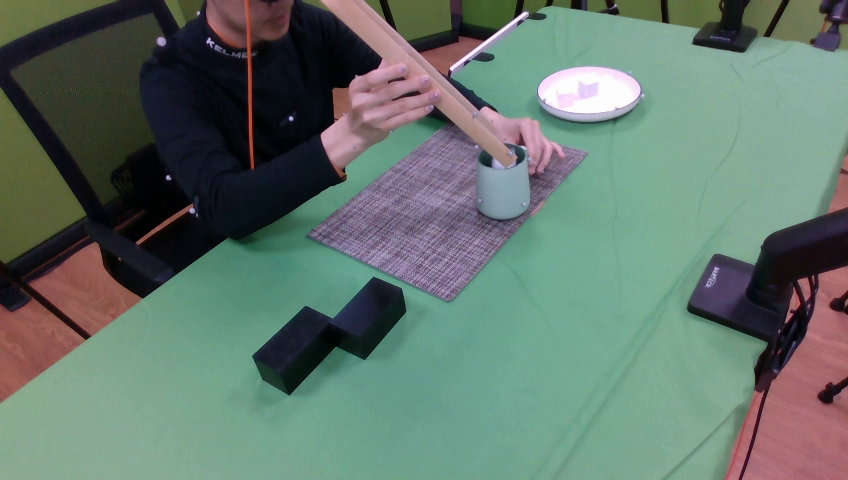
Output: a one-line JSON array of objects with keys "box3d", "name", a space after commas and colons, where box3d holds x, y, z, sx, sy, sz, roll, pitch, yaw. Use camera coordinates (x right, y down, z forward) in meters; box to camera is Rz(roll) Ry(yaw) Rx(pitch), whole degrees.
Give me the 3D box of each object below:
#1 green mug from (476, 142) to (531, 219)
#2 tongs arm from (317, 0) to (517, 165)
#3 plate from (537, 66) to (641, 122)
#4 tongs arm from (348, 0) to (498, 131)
[{"box3d": [0.140, -0.106, 1.003, 0.092, 0.105, 0.125, 21, 48, 30], "name": "green mug"}, {"box3d": [0.005, -0.210, 0.807, 0.026, 0.388, 0.050, -40, 46, 20], "name": "tongs arm"}, {"box3d": [0.338, -0.299, 1.255, 0.209, 0.038, 0.208, -4, 41, 4], "name": "plate"}, {"box3d": [-0.009, -0.243, 0.839, 0.027, 0.391, 0.028, -37, 50, 22], "name": "tongs arm"}]
